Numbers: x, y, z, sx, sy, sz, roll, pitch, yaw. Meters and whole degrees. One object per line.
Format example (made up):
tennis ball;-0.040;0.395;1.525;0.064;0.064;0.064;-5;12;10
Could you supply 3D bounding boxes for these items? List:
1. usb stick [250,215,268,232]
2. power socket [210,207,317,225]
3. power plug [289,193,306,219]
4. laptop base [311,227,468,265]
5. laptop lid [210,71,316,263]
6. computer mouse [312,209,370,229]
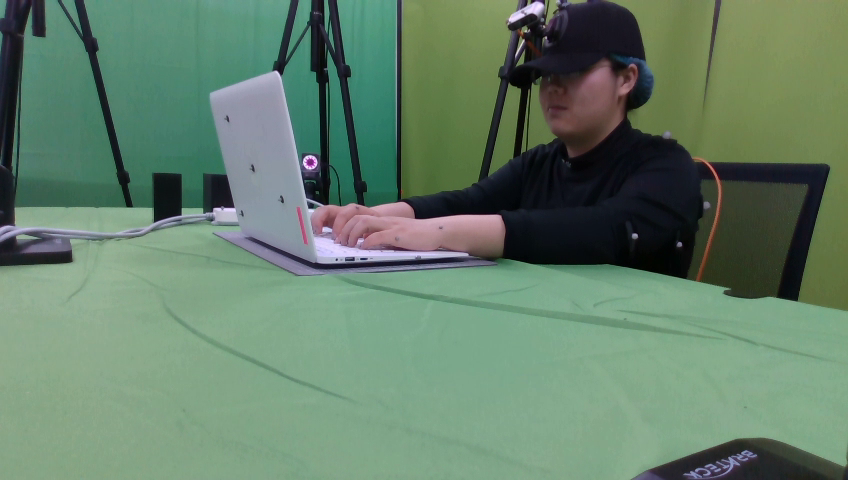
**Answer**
usb stick;-0.290;-0.028;1.069;0.021;0.027;0.059;-1;11;-30
power socket;-0.334;-0.051;1.281;0.228;0.032;0.072;-1;8;-28
power plug;-0.281;-0.076;1.340;0.035;0.052;0.072;3;6;-17
laptop base;-0.123;0.007;0.951;0.237;0.023;0.352;2;6;-32
laptop lid;-0.240;-0.104;0.861;0.013;0.241;0.355;-16;17;-29
computer mouse;-0.174;-0.043;1.266;0.118;0.041;0.062;-7;14;-34
